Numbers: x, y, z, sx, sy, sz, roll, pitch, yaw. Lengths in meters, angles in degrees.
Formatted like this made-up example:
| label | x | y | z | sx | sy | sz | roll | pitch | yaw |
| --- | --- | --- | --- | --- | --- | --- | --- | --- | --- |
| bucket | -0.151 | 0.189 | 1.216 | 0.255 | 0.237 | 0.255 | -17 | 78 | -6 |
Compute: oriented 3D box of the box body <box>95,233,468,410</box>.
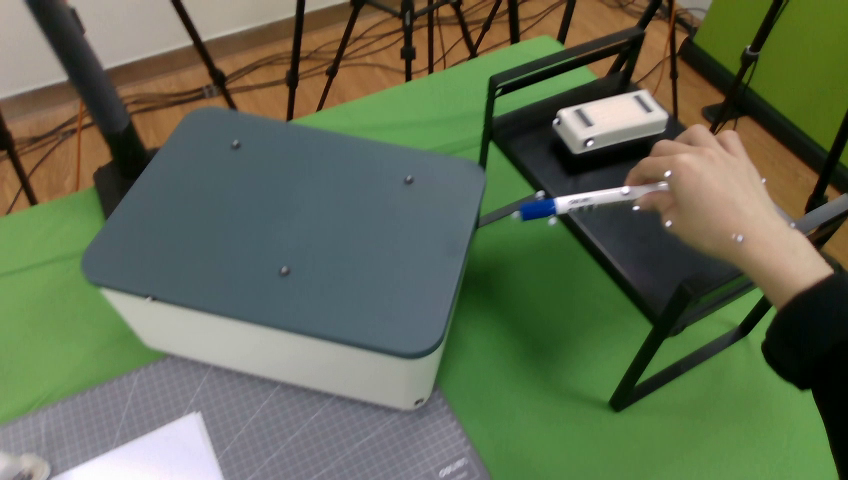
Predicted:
| label | x | y | z | sx | sy | sz | roll | pitch | yaw |
| --- | --- | --- | --- | --- | --- | --- | --- | --- | --- |
| box body | -0.138 | 0.024 | 0.698 | 0.363 | 0.162 | 0.252 | 11 | 52 | 7 |

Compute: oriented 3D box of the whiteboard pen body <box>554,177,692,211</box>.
| label | x | y | z | sx | sy | sz | roll | pitch | yaw |
| --- | --- | --- | --- | --- | --- | --- | --- | --- | --- |
| whiteboard pen body | 0.162 | -0.038 | 0.530 | 0.140 | 0.017 | 0.017 | -8 | 52 | 6 |

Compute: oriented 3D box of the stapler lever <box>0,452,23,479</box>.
| label | x | y | z | sx | sy | sz | roll | pitch | yaw |
| --- | --- | --- | --- | --- | --- | --- | --- | --- | --- |
| stapler lever | -0.430 | 0.256 | 0.567 | 0.026 | 0.040 | 0.117 | 20 | 57 | 19 |

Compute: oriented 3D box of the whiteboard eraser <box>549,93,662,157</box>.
| label | x | y | z | sx | sy | sz | roll | pitch | yaw |
| --- | --- | --- | --- | --- | --- | --- | --- | --- | --- |
| whiteboard eraser | 0.201 | -0.126 | 0.673 | 0.113 | 0.042 | 0.055 | -15 | 55 | -13 |

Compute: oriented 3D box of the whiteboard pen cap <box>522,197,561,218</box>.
| label | x | y | z | sx | sy | sz | roll | pitch | yaw |
| --- | --- | --- | --- | --- | --- | --- | --- | --- | --- |
| whiteboard pen cap | 0.104 | -0.029 | 0.536 | 0.033 | 0.018 | 0.018 | -7 | 52 | 5 |

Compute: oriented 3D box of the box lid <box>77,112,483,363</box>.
| label | x | y | z | sx | sy | sz | roll | pitch | yaw |
| --- | --- | --- | --- | --- | --- | --- | --- | --- | --- |
| box lid | -0.138 | -0.022 | 0.640 | 0.371 | 0.015 | 0.261 | 12 | 52 | 7 |

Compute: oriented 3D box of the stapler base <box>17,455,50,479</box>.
| label | x | y | z | sx | sy | sz | roll | pitch | yaw |
| --- | --- | --- | --- | --- | --- | --- | --- | --- | --- |
| stapler base | -0.429 | 0.269 | 0.588 | 0.041 | 0.024 | 0.130 | 20 | 58 | 19 |
